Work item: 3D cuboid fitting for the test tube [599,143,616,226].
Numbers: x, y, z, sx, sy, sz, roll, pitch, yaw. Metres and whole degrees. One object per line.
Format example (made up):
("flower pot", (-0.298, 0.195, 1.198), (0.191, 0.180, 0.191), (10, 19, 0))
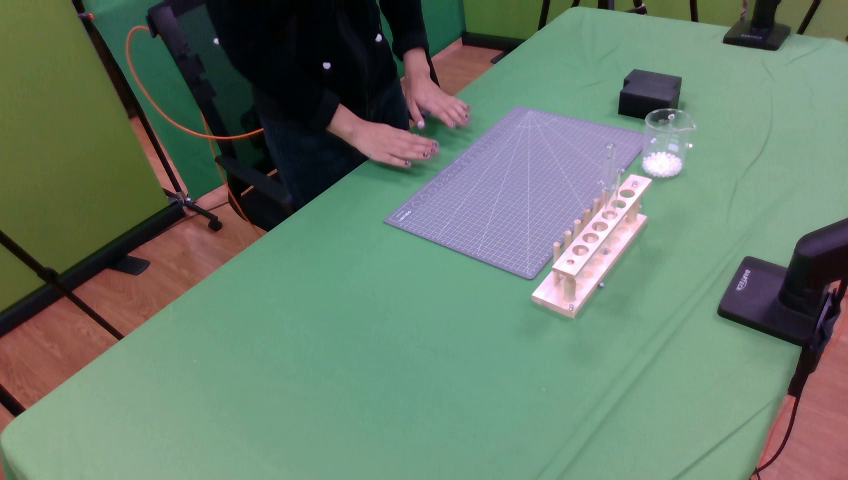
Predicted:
("test tube", (0.273, -0.081, 0.909), (0.017, 0.151, 0.017), (-4, 42, 4))

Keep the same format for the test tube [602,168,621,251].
("test tube", (0.264, -0.039, 0.854), (0.017, 0.151, 0.017), (-5, 44, 6))

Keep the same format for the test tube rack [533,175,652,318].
("test tube rack", (0.250, -0.001, 0.889), (0.066, 0.085, 0.243), (23, 49, 33))

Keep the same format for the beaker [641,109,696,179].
("beaker", (0.415, -0.161, 1.035), (0.083, 0.101, 0.074), (19, 48, 29))
